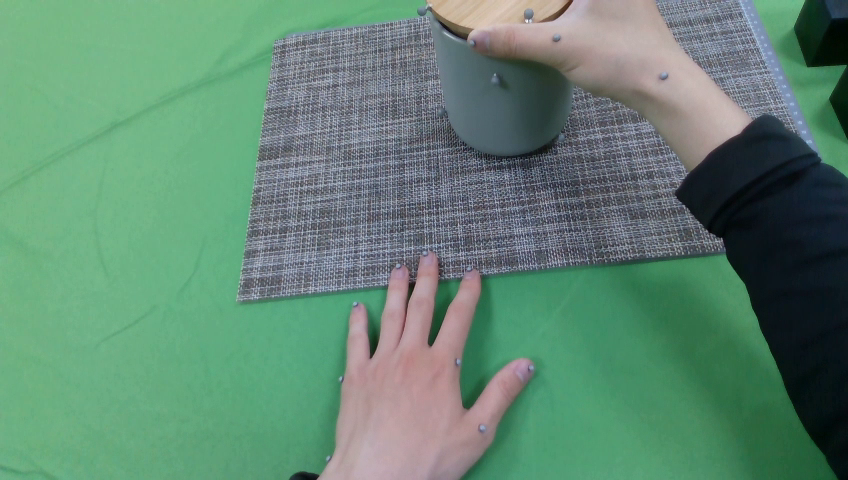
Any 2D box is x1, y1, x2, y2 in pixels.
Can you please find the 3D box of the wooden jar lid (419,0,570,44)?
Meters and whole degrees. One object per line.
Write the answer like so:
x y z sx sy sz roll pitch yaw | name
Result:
0.050 -0.175 0.416 0.108 0.021 0.107 -3 63 7 | wooden jar lid

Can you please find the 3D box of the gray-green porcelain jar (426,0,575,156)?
0.061 -0.137 0.473 0.106 0.128 0.105 -4 58 7 | gray-green porcelain jar
